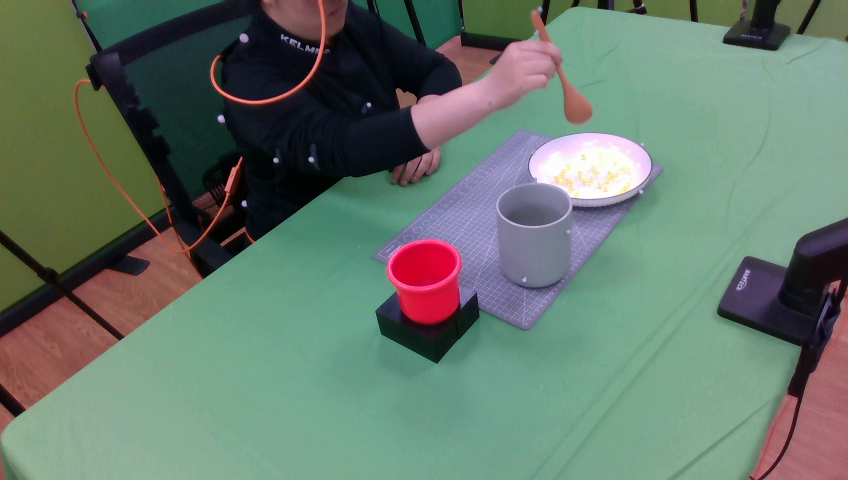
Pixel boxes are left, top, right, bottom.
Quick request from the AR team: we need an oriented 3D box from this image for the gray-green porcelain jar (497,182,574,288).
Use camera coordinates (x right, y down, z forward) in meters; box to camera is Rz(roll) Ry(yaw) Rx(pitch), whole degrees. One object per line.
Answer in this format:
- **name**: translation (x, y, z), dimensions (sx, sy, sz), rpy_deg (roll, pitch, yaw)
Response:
- **gray-green porcelain jar**: translation (0.161, -0.003, 0.869), dimensions (0.106, 0.127, 0.105), rpy_deg (-5, 40, 5)

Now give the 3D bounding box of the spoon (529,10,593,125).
- **spoon**: translation (0.198, -0.250, 0.890), dimensions (0.041, 0.195, 0.021), rpy_deg (-23, 27, 22)

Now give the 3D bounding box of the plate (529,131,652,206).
- **plate**: translation (0.287, -0.122, 1.056), dimensions (0.207, 0.039, 0.206), rpy_deg (-5, 40, 5)
